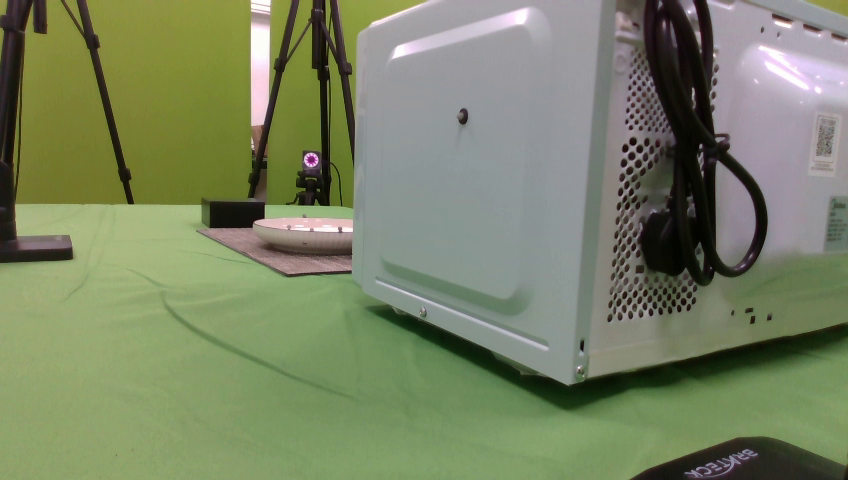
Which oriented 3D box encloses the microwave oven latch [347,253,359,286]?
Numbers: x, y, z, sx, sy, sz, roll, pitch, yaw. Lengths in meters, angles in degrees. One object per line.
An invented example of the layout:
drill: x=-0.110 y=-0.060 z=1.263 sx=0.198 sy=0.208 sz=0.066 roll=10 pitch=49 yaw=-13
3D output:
microwave oven latch: x=-0.034 y=0.028 z=0.581 sx=0.079 sy=0.029 sz=0.030 roll=-1 pitch=7 yaw=-32

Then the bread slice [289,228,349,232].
bread slice: x=-0.153 y=-0.004 z=0.921 sx=0.132 sy=0.019 sz=0.104 roll=0 pitch=7 yaw=-30

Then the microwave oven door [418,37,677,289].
microwave oven door: x=0.158 y=-0.079 z=0.684 sx=0.358 sy=0.243 sz=0.039 roll=-2 pitch=9 yaw=-32

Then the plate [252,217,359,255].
plate: x=-0.155 y=-0.007 z=0.924 sx=0.209 sy=0.038 sz=0.209 roll=3 pitch=7 yaw=0

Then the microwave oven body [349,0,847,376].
microwave oven body: x=0.199 y=-0.053 z=0.540 sx=0.444 sy=0.260 sz=0.324 roll=-1 pitch=7 yaw=-32
